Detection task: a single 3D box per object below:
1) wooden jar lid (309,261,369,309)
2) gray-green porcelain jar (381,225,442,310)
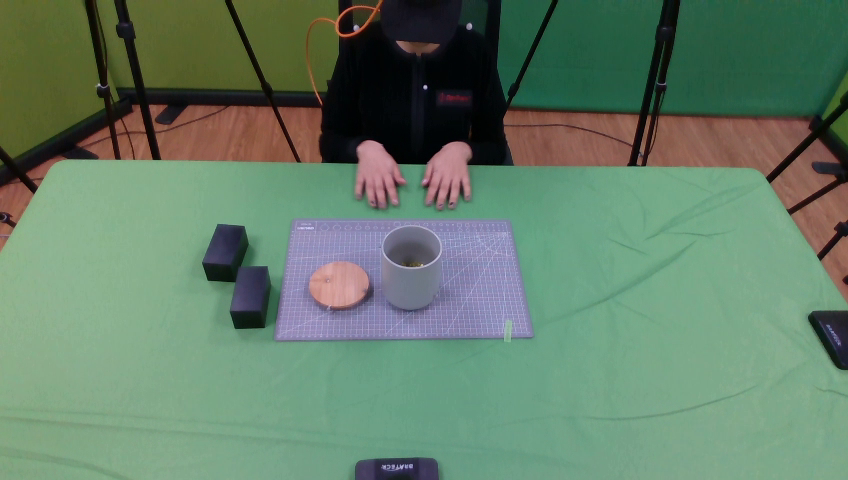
[{"bbox_3d":[-0.155,0.084,1.104,0.108,0.021,0.107,3,47,-3],"label":"wooden jar lid"},{"bbox_3d":[-0.023,0.053,1.068,0.106,0.127,0.105,2,46,-2],"label":"gray-green porcelain jar"}]
